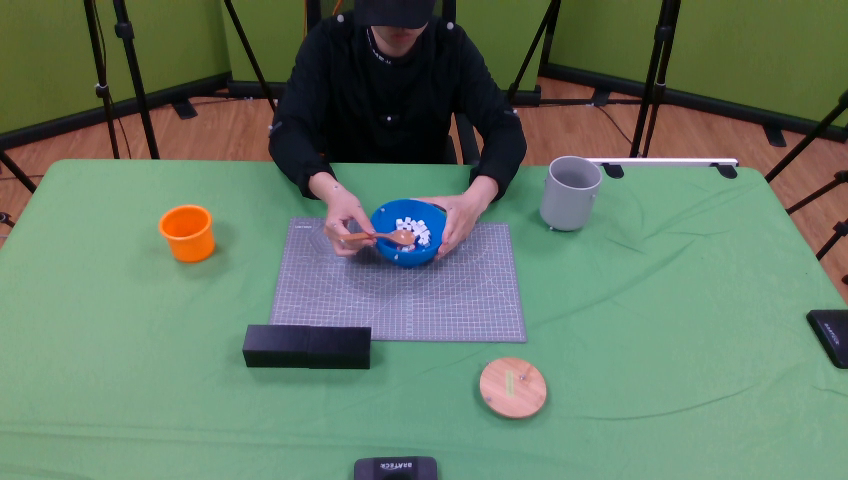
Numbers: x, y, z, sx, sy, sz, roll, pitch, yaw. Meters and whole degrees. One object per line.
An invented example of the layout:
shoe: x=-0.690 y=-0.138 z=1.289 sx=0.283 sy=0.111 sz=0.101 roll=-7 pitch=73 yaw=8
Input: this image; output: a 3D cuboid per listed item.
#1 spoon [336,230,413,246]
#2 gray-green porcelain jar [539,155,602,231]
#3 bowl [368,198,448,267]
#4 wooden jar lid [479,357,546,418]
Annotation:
spoon: x=-0.087 y=-0.006 z=1.097 sx=0.194 sy=0.021 sz=0.041 roll=3 pitch=43 yaw=-53
gray-green porcelain jar: x=0.294 y=-0.091 z=1.235 sx=0.106 sy=0.127 sz=0.105 roll=2 pitch=46 yaw=-2
bowl: x=-0.032 y=-0.001 z=1.152 sx=0.151 sy=0.077 sz=0.150 roll=3 pitch=45 yaw=-3
wooden jar lid: x=0.142 y=0.240 z=0.979 sx=0.108 sy=0.021 sz=0.107 roll=1 pitch=46 yaw=-1
